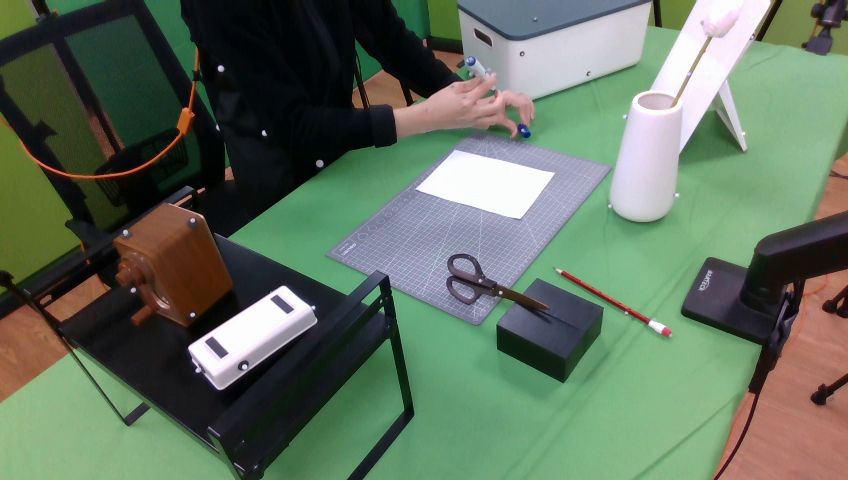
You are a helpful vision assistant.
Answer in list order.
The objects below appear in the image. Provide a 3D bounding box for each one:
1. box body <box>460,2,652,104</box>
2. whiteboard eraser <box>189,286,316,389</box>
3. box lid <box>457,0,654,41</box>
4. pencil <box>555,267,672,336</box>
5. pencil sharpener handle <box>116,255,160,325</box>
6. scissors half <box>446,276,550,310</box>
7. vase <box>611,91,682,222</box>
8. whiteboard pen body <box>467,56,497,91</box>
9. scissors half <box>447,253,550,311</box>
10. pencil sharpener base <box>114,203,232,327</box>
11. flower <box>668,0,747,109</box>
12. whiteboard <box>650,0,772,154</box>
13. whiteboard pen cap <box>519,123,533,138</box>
[{"bbox_3d":[0.291,-0.465,1.371,0.365,0.161,0.252,-22,42,-16],"label":"box body"},{"bbox_3d":[-0.166,0.096,0.593,0.113,0.042,0.055,-36,47,-29],"label":"whiteboard eraser"},{"bbox_3d":[0.285,-0.522,1.323,0.373,0.015,0.261,-22,43,-16],"label":"box lid"},{"bbox_3d":[0.260,0.082,0.850,0.012,0.012,0.192,-33,46,-27],"label":"pencil"},{"bbox_3d":[-0.286,0.050,0.594,0.035,0.068,0.031,7,41,35],"label":"pencil sharpener handle"},{"bbox_3d":[0.098,0.077,0.827,0.174,0.040,0.013,6,14,44],"label":"scissors half"},{"bbox_3d":[0.348,-0.125,0.935,0.098,0.201,0.097,-3,40,3],"label":"vase"},{"bbox_3d":[0.095,-0.260,0.958,0.017,0.017,0.141,13,0,22],"label":"whiteboard pen body"},{"bbox_3d":[0.098,0.058,0.821,0.173,0.040,0.013,27,33,36],"label":"scissors half"},{"bbox_3d":[-0.261,0.029,0.635,0.061,0.107,0.077,18,47,27],"label":"pencil sharpener base"},{"bbox_3d":[0.354,-0.187,0.879,0.038,0.362,0.044,31,48,15],"label":"flower"},{"bbox_3d":[0.543,-0.298,1.076,0.144,0.305,0.216,12,40,-7],"label":"whiteboard"},{"bbox_3d":[0.199,-0.214,1.185,0.018,0.018,0.033,-15,50,-10],"label":"whiteboard pen cap"}]
